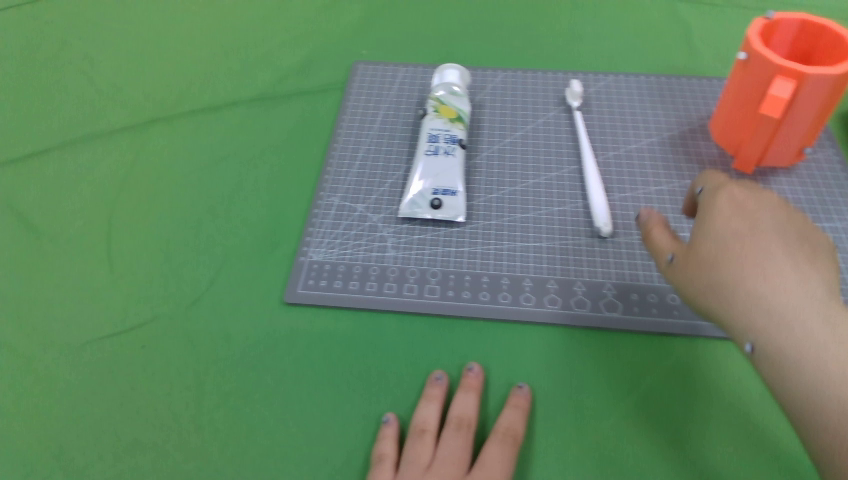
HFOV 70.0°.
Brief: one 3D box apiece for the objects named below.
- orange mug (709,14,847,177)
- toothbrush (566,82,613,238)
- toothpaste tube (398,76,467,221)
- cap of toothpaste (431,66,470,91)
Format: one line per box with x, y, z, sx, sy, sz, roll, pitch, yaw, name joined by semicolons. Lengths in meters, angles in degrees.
0.290;-0.112;0.496;0.083;0.102;0.126;27;52;22;orange mug
0.142;-0.075;0.521;0.014;0.017;0.180;8;52;-9;toothbrush
0.014;-0.084;0.525;0.055;0.035;0.163;1;55;8;toothpaste tube
0.025;-0.147;0.567;0.037;0.037;0.011;7;57;7;cap of toothpaste
